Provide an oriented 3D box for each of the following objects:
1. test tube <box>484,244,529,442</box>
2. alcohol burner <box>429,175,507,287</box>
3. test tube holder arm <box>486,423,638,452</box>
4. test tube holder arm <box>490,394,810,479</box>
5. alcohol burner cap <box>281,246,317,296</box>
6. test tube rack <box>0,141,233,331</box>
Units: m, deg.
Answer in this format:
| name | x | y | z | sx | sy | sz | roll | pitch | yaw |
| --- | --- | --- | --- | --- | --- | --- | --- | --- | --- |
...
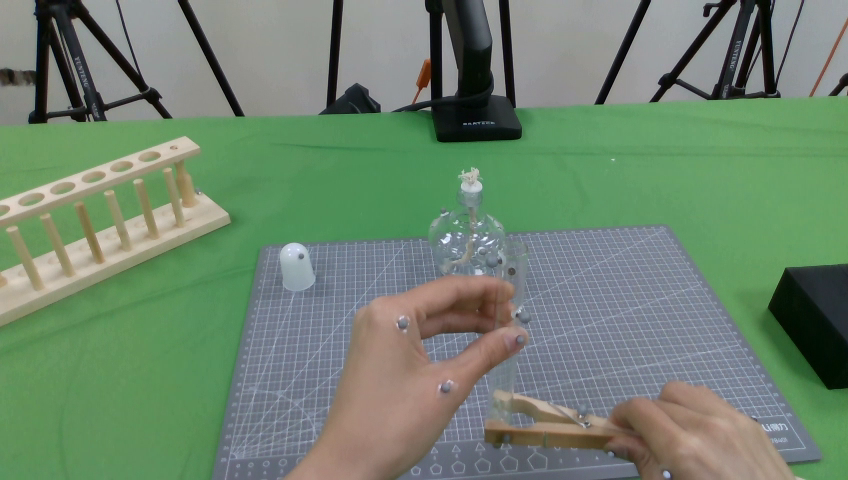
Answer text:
| name | x | y | z | sx | sy | sz | roll | pitch | yaw |
| --- | --- | --- | --- | --- | --- | --- | --- | --- | --- |
| test tube | 0.045 | 0.067 | 0.343 | 0.017 | 0.151 | 0.017 | 0 | 35 | 0 |
| alcohol burner | 0.044 | -0.013 | 0.587 | 0.078 | 0.120 | 0.077 | 1 | 39 | -1 |
| test tube holder arm | 0.081 | 0.118 | 0.360 | 0.088 | 0.015 | 0.010 | 0 | 38 | 6 |
| test tube holder arm | 0.125 | 0.119 | 0.354 | 0.177 | 0.015 | 0.013 | 10 | 41 | 17 |
| alcohol burner cap | -0.124 | 0.027 | 0.592 | 0.034 | 0.048 | 0.033 | 1 | 38 | 0 |
| test tube rack | -0.326 | -0.013 | 0.612 | 0.242 | 0.086 | 0.066 | -30 | 46 | -33 |
